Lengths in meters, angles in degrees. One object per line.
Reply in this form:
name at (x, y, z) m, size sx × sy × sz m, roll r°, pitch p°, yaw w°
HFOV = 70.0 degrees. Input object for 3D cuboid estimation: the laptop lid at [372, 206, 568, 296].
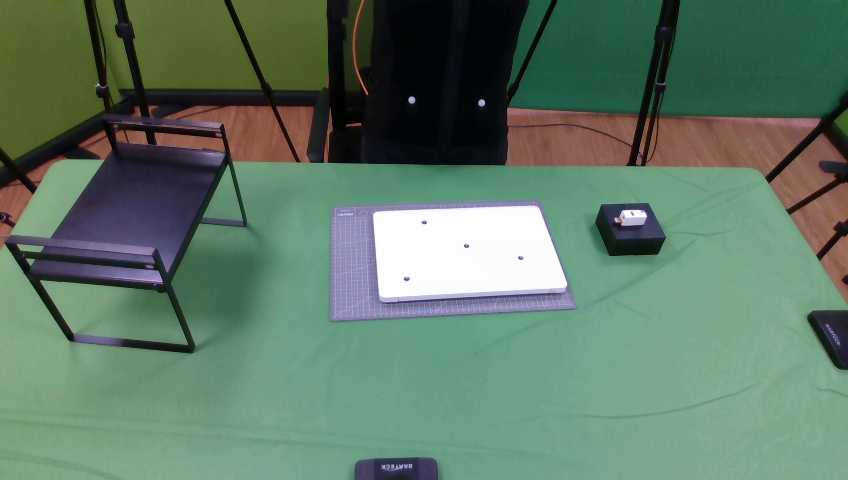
laptop lid at (0.081, 0.014, 1.174) m, size 0.357 × 0.013 × 0.240 m, roll -1°, pitch 44°, yaw -5°

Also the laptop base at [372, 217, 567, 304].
laptop base at (0.081, 0.024, 1.181) m, size 0.355 × 0.023 × 0.234 m, roll -3°, pitch 43°, yaw -6°

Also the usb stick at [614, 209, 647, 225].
usb stick at (0.407, -0.045, 1.195) m, size 0.059 × 0.027 × 0.021 m, roll -4°, pitch 48°, yaw -4°
